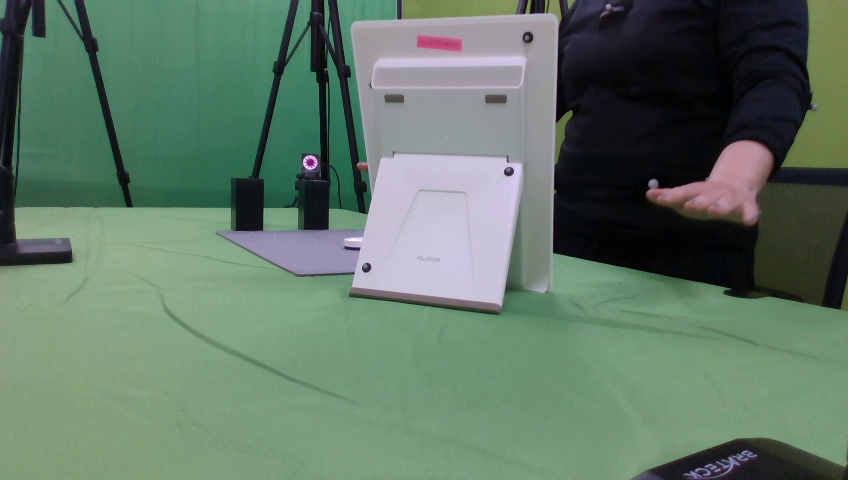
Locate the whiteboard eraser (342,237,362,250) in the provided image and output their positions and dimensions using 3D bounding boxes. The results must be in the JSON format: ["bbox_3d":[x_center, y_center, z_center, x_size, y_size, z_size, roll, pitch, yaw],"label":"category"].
[{"bbox_3d":[-0.082,0.004,0.968,0.102,0.019,0.041,0,7,-31],"label":"whiteboard eraser"}]

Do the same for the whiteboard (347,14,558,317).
[{"bbox_3d":[0.012,-0.056,0.609,0.216,0.305,0.144,5,27,20],"label":"whiteboard"}]
